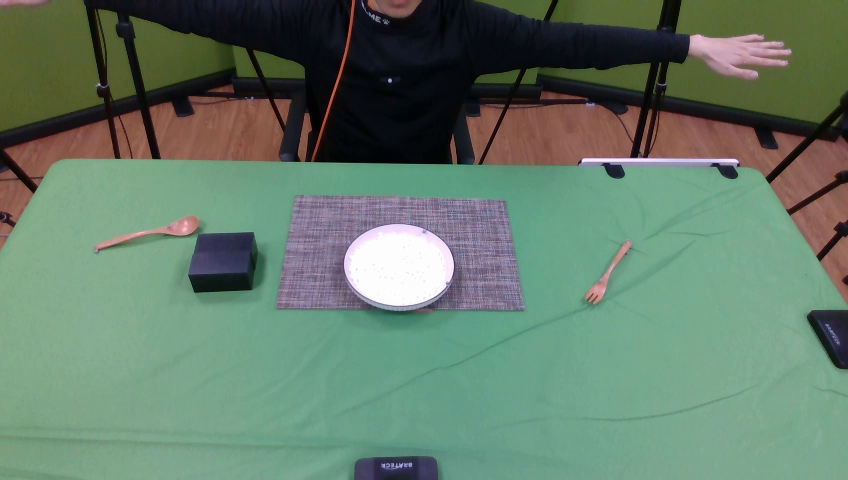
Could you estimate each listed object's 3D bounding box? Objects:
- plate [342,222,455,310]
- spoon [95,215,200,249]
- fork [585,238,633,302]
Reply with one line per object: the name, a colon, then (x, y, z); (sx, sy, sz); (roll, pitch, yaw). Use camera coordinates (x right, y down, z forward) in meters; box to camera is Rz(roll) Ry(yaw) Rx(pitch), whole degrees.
plate: (-0.047, 0.052, 1.127); (0.209, 0.038, 0.208); (2, 46, -2)
spoon: (-0.531, -0.014, 1.168); (0.194, 0.022, 0.041); (-13, 65, -16)
fork: (0.362, 0.055, 1.171); (0.028, 0.019, 0.207); (21, 49, 29)
